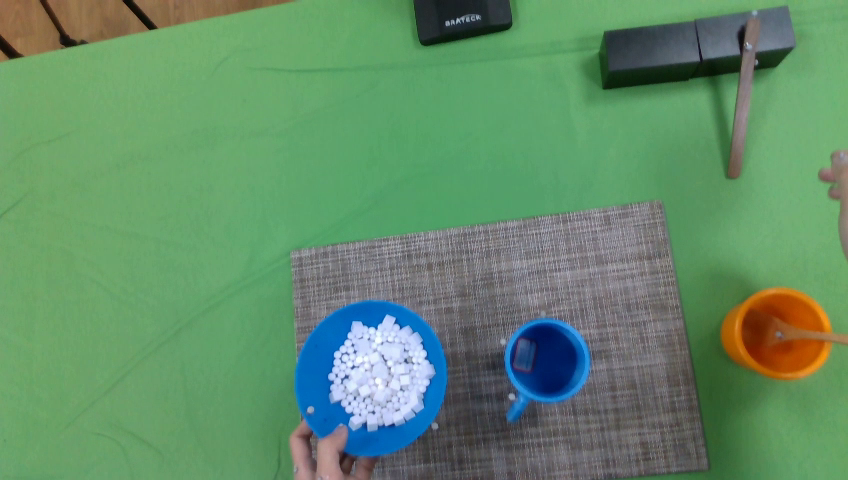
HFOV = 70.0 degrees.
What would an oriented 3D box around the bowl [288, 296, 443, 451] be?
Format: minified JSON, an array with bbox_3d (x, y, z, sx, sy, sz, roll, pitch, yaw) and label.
[{"bbox_3d":[-0.054,0.138,0.624,0.151,0.077,0.150,-1,73,3],"label":"bowl"}]

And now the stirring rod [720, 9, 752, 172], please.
[{"bbox_3d":[0.349,-0.165,0.679,0.014,0.006,0.176,1,103,2],"label":"stirring rod"}]

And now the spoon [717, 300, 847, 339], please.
[{"bbox_3d":[0.386,0.088,0.594,0.022,0.192,0.041,18,82,-34],"label":"spoon"}]

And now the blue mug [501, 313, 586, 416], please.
[{"bbox_3d":[0.115,0.135,0.641,0.082,0.106,0.116,31,86,12],"label":"blue mug"}]
